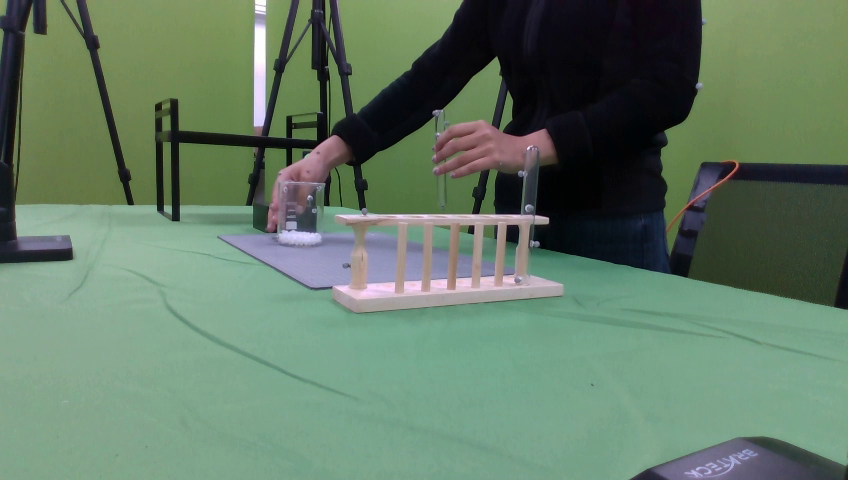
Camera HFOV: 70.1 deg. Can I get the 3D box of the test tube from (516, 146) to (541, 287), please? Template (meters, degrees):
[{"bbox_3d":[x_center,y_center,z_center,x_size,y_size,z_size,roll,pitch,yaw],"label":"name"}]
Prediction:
[{"bbox_3d":[0.110,-0.024,0.638,0.017,0.150,0.017,4,6,0],"label":"test tube"}]

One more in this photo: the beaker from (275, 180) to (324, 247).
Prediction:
[{"bbox_3d":[-0.192,-0.042,0.946,0.073,0.100,0.084,9,9,39],"label":"beaker"}]

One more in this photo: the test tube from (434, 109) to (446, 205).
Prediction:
[{"bbox_3d":[0.026,-0.128,0.945,0.017,0.150,0.017,-2,13,1],"label":"test tube"}]

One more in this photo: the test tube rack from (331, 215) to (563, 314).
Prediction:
[{"bbox_3d":[0.031,0.019,0.625,0.243,0.085,0.066,-1,8,-28],"label":"test tube rack"}]
